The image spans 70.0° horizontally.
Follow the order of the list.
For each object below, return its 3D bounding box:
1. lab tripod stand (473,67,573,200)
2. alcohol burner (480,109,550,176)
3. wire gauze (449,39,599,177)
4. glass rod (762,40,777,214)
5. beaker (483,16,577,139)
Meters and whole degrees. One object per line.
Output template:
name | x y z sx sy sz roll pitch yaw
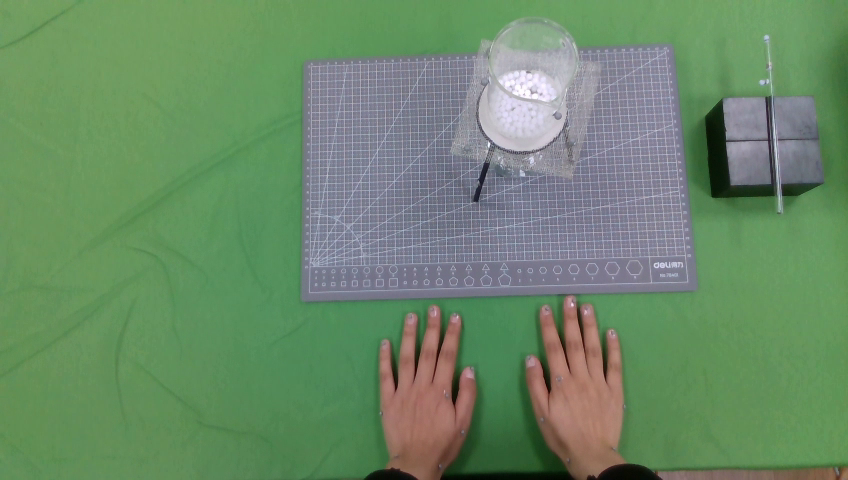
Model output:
lab tripod stand | 0.096 -0.118 0.654 0.148 0.132 0.147 -1 79 5
alcohol burner | 0.100 -0.112 0.662 0.078 0.119 0.077 -1 80 5
wire gauze | 0.098 -0.129 0.588 0.121 0.011 0.124 15 79 5
glass rod | 0.376 -0.125 0.660 0.008 0.008 0.199 2 80 3
beaker | 0.092 -0.136 0.541 0.074 0.100 0.083 -29 79 -2
